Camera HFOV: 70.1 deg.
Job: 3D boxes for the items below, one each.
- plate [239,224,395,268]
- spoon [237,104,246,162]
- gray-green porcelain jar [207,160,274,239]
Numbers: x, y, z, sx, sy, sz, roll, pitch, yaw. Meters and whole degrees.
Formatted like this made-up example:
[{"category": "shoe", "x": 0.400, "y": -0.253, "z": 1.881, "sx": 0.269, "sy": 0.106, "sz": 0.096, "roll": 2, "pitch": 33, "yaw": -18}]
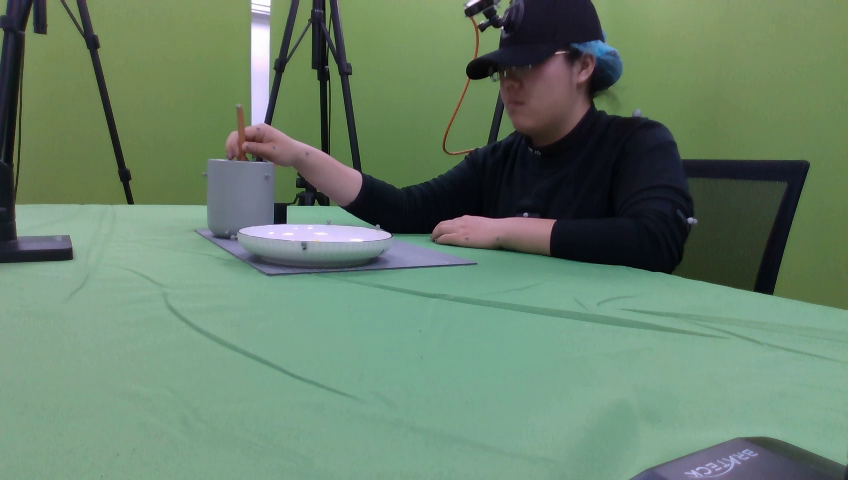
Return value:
[{"category": "plate", "x": -0.144, "y": 0.007, "z": 0.823, "sx": 0.208, "sy": 0.039, "sz": 0.207, "roll": 3, "pitch": 7, "yaw": 0}, {"category": "spoon", "x": -0.306, "y": -0.128, "z": 1.008, "sx": 0.021, "sy": 0.193, "sz": 0.042, "roll": 15, "pitch": 19, "yaw": 12}, {"category": "gray-green porcelain jar", "x": -0.304, "y": -0.068, "z": 1.004, "sx": 0.106, "sy": 0.126, "sz": 0.106, "roll": 3, "pitch": 7, "yaw": 0}]
